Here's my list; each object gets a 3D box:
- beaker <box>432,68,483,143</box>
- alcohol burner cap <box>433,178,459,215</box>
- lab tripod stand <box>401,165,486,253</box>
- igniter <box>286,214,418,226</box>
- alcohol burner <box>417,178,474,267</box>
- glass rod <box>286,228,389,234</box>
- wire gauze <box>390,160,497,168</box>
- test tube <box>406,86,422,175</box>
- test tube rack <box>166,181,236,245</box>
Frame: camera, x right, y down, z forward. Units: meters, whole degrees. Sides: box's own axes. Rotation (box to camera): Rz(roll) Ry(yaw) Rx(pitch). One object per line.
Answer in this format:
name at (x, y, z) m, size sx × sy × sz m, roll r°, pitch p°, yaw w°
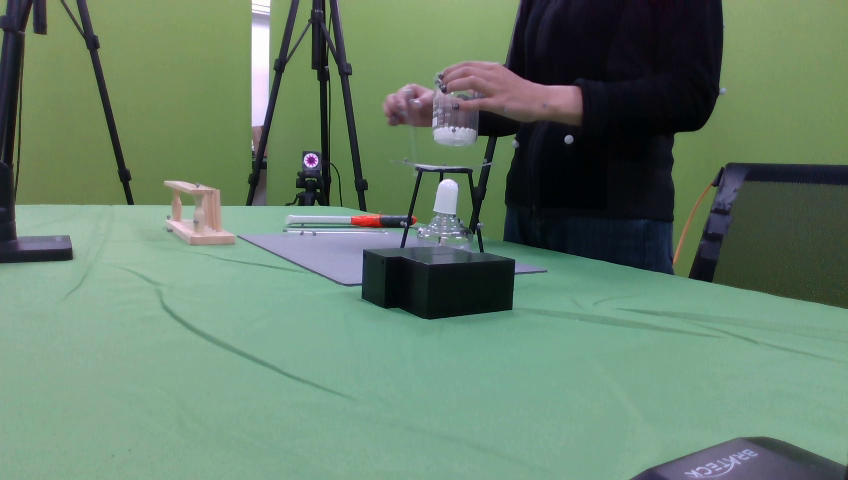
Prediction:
beaker at (0.047, -0.201, 0.919) m, size 0.074 × 0.100 × 0.083 m, roll 2°, pitch -1°, yaw -34°
alcohol burner cap at (0.031, -0.059, 0.806) m, size 0.034 × 0.048 × 0.034 m, roll 9°, pitch 10°, yaw -1°
lab tripod stand at (0.028, -0.049, 0.930) m, size 0.148 × 0.131 × 0.148 m, roll 3°, pitch 9°, yaw 0°
igniter at (-0.146, -0.043, 1.263) m, size 0.278 × 0.025 × 0.057 m, roll -1°, pitch -2°, yaw -24°
alcohol burner at (0.029, -0.024, 0.810) m, size 0.078 × 0.119 × 0.078 m, roll 1°, pitch 8°, yaw 0°
glass rod at (-0.153, -0.016, 1.101) m, size 0.201 × 0.008 × 0.008 m, roll 1°, pitch 6°, yaw -31°
wire gauze at (0.028, -0.115, 0.919) m, size 0.122 × 0.011 × 0.124 m, roll -4°, pitch 10°, yaw -34°
test tube at (-0.017, -0.187, 1.039) m, size 0.017 × 0.150 × 0.017 m, roll -4°, pitch 17°, yaw 2°
test tube rack at (-0.383, -0.051, 1.024) m, size 0.067 × 0.085 × 0.241 m, roll -2°, pitch 9°, yaw -31°
